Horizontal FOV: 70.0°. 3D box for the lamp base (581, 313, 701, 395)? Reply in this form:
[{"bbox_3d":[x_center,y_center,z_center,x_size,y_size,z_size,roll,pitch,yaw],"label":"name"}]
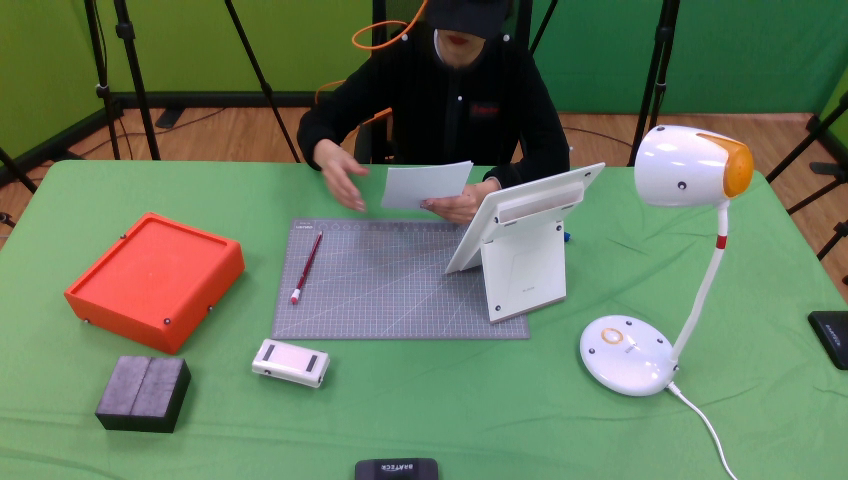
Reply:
[{"bbox_3d":[0.361,0.144,0.973,0.178,0.181,0.160,34,53,23],"label":"lamp base"}]

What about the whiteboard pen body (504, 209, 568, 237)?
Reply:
[{"bbox_3d":[0.230,-0.034,1.248,0.140,0.017,0.017,22,49,15],"label":"whiteboard pen body"}]

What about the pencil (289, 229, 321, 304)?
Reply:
[{"bbox_3d":[-0.220,0.045,1.141,0.012,0.012,0.193,8,45,4],"label":"pencil"}]

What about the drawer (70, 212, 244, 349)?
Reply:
[{"bbox_3d":[-0.458,0.065,1.060,0.194,0.073,0.211,18,48,12],"label":"drawer"}]

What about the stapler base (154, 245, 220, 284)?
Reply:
[{"bbox_3d":[-0.434,0.039,1.107,0.130,0.024,0.041,21,45,17],"label":"stapler base"}]

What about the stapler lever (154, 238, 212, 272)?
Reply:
[{"bbox_3d":[-0.434,0.022,1.091,0.118,0.040,0.027,23,46,15],"label":"stapler lever"}]

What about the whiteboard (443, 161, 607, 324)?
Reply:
[{"bbox_3d":[0.185,0.026,1.028,0.217,0.306,0.143,-15,68,-18],"label":"whiteboard"}]

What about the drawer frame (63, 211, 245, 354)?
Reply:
[{"bbox_3d":[-0.459,0.067,1.056,0.201,0.083,0.212,17,48,11],"label":"drawer frame"}]

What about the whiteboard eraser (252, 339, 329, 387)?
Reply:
[{"bbox_3d":[-0.215,0.199,0.976,0.112,0.042,0.055,12,45,7],"label":"whiteboard eraser"}]

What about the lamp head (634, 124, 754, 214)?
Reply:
[{"bbox_3d":[0.351,-0.089,0.776,0.112,0.113,0.122,-30,30,-28],"label":"lamp head"}]

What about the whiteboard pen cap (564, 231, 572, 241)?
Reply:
[{"bbox_3d":[0.282,-0.012,1.230,0.033,0.018,0.018,24,49,15],"label":"whiteboard pen cap"}]
